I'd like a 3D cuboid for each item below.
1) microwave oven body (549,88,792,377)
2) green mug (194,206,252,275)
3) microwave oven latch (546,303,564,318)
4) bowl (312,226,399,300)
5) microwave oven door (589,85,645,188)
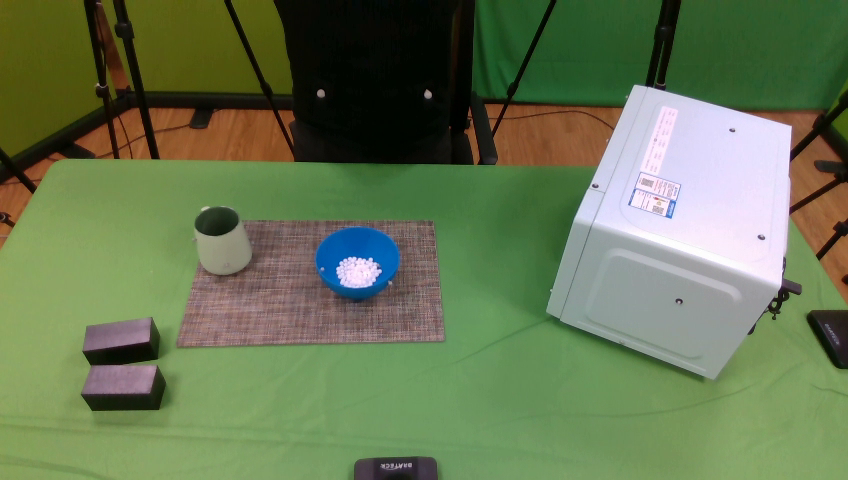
[{"bbox_3d":[0.456,-0.028,1.088,0.325,0.261,0.440,20,47,16],"label":"microwave oven body"},{"bbox_3d":[-0.377,-0.008,1.113,0.092,0.105,0.124,-26,53,-25],"label":"green mug"},{"bbox_3d":[0.242,0.102,1.081,0.030,0.029,0.079,21,48,17],"label":"microwave oven latch"},{"bbox_3d":[-0.121,0.054,1.091,0.151,0.077,0.150,2,46,-2],"label":"bowl"},{"bbox_3d":[0.342,-0.107,1.149,0.039,0.245,0.354,21,48,15],"label":"microwave oven door"}]
